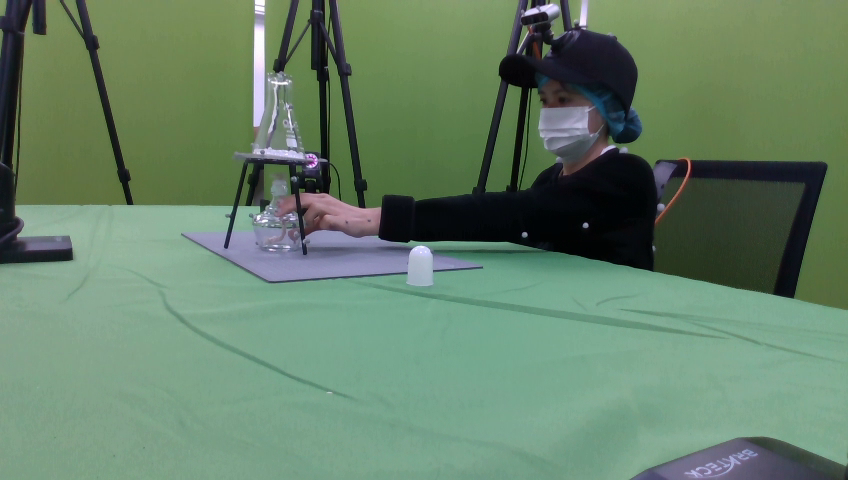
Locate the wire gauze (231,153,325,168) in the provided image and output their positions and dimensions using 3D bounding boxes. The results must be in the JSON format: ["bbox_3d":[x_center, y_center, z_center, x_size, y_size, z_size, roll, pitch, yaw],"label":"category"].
[{"bbox_3d":[-0.215,-0.117,0.882,0.125,0.011,0.121,3,7,-19],"label":"wire gauze"}]

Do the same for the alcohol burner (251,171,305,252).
[{"bbox_3d":[-0.214,-0.042,0.888,0.078,0.119,0.078,2,9,0],"label":"alcohol burner"}]

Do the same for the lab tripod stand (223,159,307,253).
[{"bbox_3d":[-0.220,-0.053,0.896,0.148,0.131,0.148,1,6,0],"label":"lab tripod stand"}]

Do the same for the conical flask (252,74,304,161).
[{"bbox_3d":[-0.211,-0.177,0.879,0.075,0.122,0.075,3,6,0],"label":"conical flask"}]

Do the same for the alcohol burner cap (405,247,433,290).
[{"bbox_3d":[-0.005,0.031,0.698,0.034,0.048,0.034,3,8,0],"label":"alcohol burner cap"}]
